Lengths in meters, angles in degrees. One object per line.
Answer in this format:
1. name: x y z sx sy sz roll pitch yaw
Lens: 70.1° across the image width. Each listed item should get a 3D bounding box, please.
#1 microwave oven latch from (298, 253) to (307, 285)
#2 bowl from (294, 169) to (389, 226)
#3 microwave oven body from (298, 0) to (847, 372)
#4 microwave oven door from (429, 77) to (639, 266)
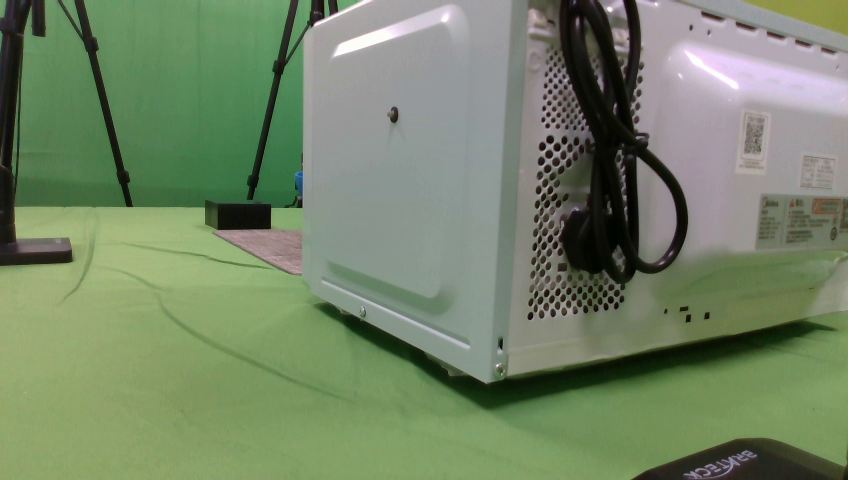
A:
1. microwave oven latch: -0.081 0.027 0.583 0.079 0.029 0.030 -1 7 -32
2. bowl: -0.131 -0.067 0.964 0.151 0.077 0.151 2 12 0
3. microwave oven body: 0.151 -0.055 0.543 0.444 0.260 0.324 -1 7 -33
4. microwave oven door: 0.143 -0.106 0.903 0.039 0.243 0.354 -4 9 -41
